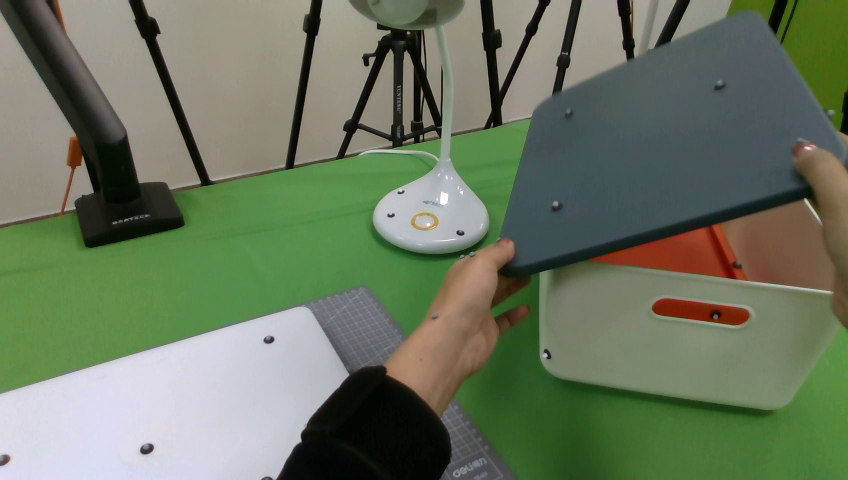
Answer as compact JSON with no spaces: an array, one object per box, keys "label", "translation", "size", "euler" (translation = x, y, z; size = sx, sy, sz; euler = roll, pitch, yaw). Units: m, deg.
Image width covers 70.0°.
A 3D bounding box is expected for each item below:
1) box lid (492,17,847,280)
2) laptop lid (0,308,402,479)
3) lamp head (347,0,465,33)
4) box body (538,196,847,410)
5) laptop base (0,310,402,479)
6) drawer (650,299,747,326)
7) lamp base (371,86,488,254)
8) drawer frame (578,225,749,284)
[{"label":"box lid","translation":[0.206,-0.103,0.578],"size":[0.263,0.015,0.369],"euler":[-20,26,28]},{"label":"laptop lid","translation":[-0.222,0.173,0.489],"size":[0.358,0.013,0.239],"euler":[-14,40,-25]},{"label":"lamp head","translation":[-0.013,-0.273,0.571],"size":[0.112,0.113,0.122],"euler":[4,73,2]},{"label":"box body","translation":[0.261,0.000,0.685],"size":[0.254,0.161,0.361],"euler":[7,34,6]},{"label":"laptop base","translation":[-0.224,0.181,0.497],"size":[0.355,0.023,0.233],"euler":[-15,42,-26]},{"label":"drawer","translation":[0.240,0.038,0.694],"size":[0.194,0.074,0.210],"euler":[4,31,5]},{"label":"lamp base","translation":[0.012,-0.100,0.796],"size":[0.160,0.181,0.178],"euler":[7,32,6]},{"label":"drawer frame","translation":[0.241,0.032,0.694],"size":[0.201,0.083,0.212],"euler":[6,31,4]}]
